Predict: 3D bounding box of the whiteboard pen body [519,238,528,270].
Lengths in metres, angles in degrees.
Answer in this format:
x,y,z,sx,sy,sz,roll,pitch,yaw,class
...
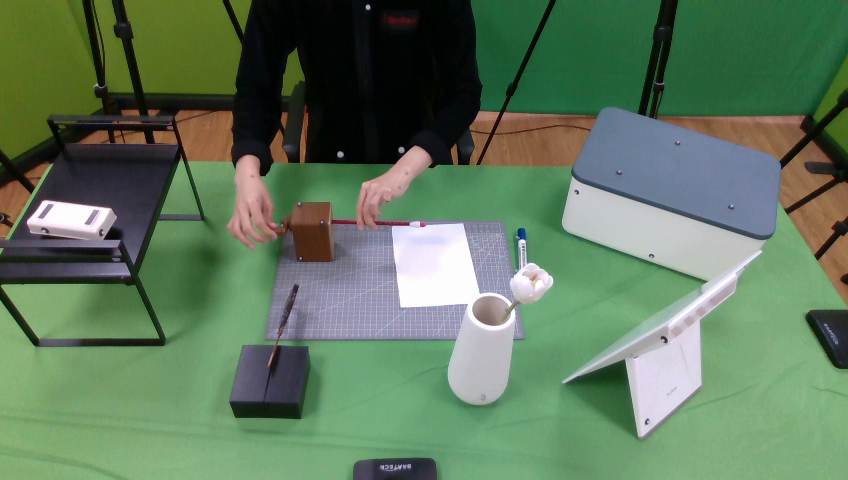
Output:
x,y,z,sx,sy,sz,roll,pitch,yaw,class
0.193,0.035,1.180,0.017,0.017,0.140,6,48,1,whiteboard pen body

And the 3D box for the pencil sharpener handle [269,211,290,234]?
x,y,z,sx,sy,sz,roll,pitch,yaw,class
-0.260,-0.028,1.095,0.031,0.036,0.067,0,25,-4,pencil sharpener handle

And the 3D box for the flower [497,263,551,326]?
x,y,z,sx,sy,sz,roll,pitch,yaw,class
0.102,0.121,0.852,0.044,0.363,0.038,-2,64,-10,flower

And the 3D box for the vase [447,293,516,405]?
x,y,z,sx,sy,sz,roll,pitch,yaw,class
0.091,0.169,0.921,0.098,0.201,0.097,3,47,-3,vase

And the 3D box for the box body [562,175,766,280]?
x,y,z,sx,sy,sz,roll,pitch,yaw,class
0.486,-0.088,1.222,0.363,0.161,0.253,20,48,15,box body

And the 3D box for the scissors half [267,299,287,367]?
x,y,z,sx,sy,sz,roll,pitch,yaw,class
-0.239,0.150,0.997,0.013,0.040,0.174,24,24,-13,scissors half

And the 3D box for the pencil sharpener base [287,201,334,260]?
x,y,z,sx,sy,sz,roll,pitch,yaw,class
-0.211,-0.016,1.133,0.077,0.107,0.061,-1,47,-4,pencil sharpener base

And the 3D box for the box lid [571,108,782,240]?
x,y,z,sx,sy,sz,roll,pitch,yaw,class
0.491,-0.139,1.168,0.370,0.015,0.262,21,49,15,box lid

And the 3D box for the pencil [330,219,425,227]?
x,y,z,sx,sy,sz,roll,pitch,yaw,class
-0.095,-0.032,1.121,0.194,0.012,0.012,2,46,-2,pencil

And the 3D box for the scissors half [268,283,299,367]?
x,y,z,sx,sy,sz,roll,pitch,yaw,class
-0.230,0.135,0.986,0.013,0.040,0.174,19,43,-11,scissors half

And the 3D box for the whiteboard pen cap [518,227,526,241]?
x,y,z,sx,sy,sz,roll,pitch,yaw,class
0.197,-0.009,1.220,0.018,0.018,0.033,5,51,1,whiteboard pen cap

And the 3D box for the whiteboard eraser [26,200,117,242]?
x,y,z,sx,sy,sz,roll,pitch,yaw,class
-0.532,-0.026,0.919,0.113,0.042,0.055,7,45,3,whiteboard eraser

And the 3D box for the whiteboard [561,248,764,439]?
x,y,z,sx,sy,sz,roll,pitch,yaw,class
0.386,0.176,0.905,0.217,0.306,0.143,-26,72,-27,whiteboard
